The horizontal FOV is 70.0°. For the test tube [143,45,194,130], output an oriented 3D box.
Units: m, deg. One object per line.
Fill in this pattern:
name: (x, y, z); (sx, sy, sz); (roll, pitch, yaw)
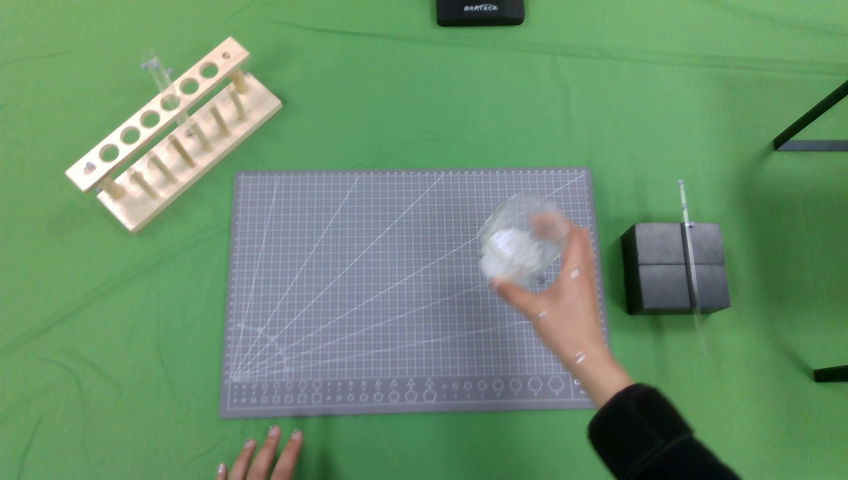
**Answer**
test tube: (-0.285, -0.167, 0.685); (0.017, 0.151, 0.017); (2, 70, -5)

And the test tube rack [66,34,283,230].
test tube rack: (-0.288, -0.128, 0.725); (0.066, 0.085, 0.242); (43, 77, 10)

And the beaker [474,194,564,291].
beaker: (0.087, 0.008, 0.607); (0.084, 0.101, 0.073); (-2, 71, -3)

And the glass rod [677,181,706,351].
glass rod: (0.305, 0.026, 0.691); (0.008, 0.008, 0.198); (-1, 74, -2)
